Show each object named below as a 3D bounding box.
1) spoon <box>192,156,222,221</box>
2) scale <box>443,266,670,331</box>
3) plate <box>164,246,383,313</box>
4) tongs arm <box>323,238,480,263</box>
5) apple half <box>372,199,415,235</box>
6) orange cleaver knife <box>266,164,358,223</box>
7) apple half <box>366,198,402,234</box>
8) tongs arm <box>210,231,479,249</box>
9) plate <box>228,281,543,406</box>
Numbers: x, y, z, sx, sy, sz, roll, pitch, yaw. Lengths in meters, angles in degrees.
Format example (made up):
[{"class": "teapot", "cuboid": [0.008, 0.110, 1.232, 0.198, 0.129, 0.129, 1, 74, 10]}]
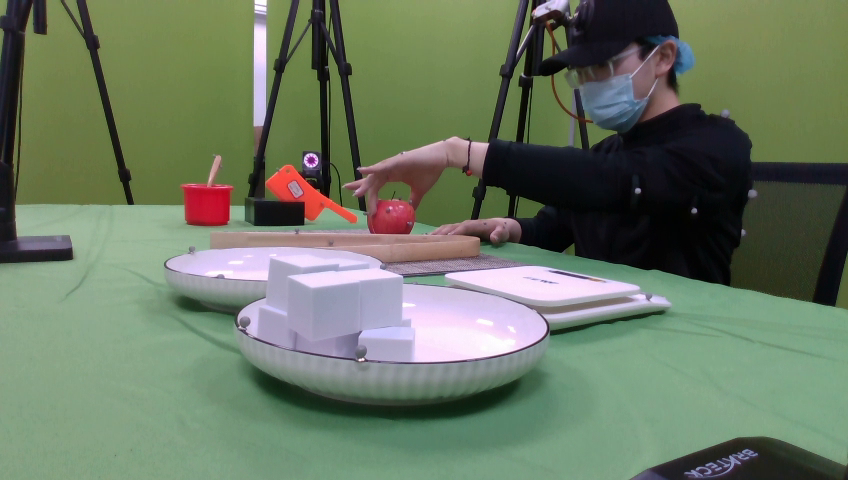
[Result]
[{"class": "spoon", "cuboid": [-0.430, -0.108, 1.222, 0.041, 0.021, 0.193, -1, 52, 0]}, {"class": "scale", "cuboid": [0.131, 0.052, 0.603, 0.202, 0.031, 0.148, -2, 9, -37]}, {"class": "plate", "cuboid": [-0.145, 0.038, 0.600, 0.209, 0.038, 0.209, 2, 7, 0]}, {"class": "tongs arm", "cuboid": [-0.070, 0.018, 0.800, 0.390, 0.028, 0.028, -2, 5, -34]}, {"class": "apple half", "cuboid": [-0.046, -0.031, 0.998, 0.081, 0.081, 0.032, -1, 6, -24]}, {"class": "orange cleaver knife", "cuboid": [-0.237, -0.082, 1.295, 0.212, 0.077, 0.012, 35, -8, -26]}, {"class": "apple half", "cuboid": [-0.062, -0.035, 1.033, 0.081, 0.074, 0.053, -4, 7, -23]}, {"class": "tongs arm", "cuboid": [-0.106, 0.005, 0.876, 0.386, 0.026, 0.050, 1, 7, -20]}, {"class": "plate", "cuboid": [-0.025, 0.067, 0.413, 0.208, 0.039, 0.207, 3, 7, 0]}]
